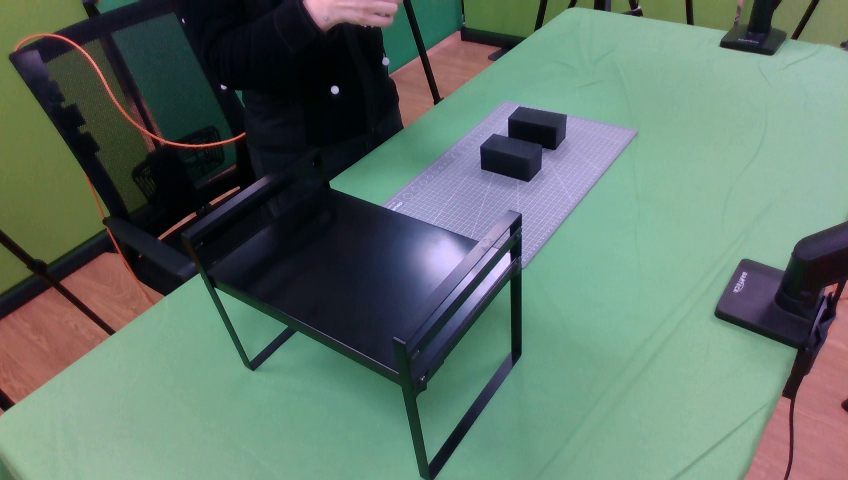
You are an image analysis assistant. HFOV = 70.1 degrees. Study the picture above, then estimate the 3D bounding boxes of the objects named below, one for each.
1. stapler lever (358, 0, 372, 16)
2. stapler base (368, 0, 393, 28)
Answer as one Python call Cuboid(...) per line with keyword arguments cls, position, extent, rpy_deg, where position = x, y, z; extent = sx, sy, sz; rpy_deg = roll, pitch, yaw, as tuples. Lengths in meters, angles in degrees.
Cuboid(cls="stapler lever", position=(-0.072, -0.386, 0.884), extent=(0.040, 0.118, 0.027), rpy_deg=(38, 46, -2))
Cuboid(cls="stapler base", position=(-0.051, -0.372, 0.885), extent=(0.024, 0.130, 0.041), rpy_deg=(38, 46, -2))
